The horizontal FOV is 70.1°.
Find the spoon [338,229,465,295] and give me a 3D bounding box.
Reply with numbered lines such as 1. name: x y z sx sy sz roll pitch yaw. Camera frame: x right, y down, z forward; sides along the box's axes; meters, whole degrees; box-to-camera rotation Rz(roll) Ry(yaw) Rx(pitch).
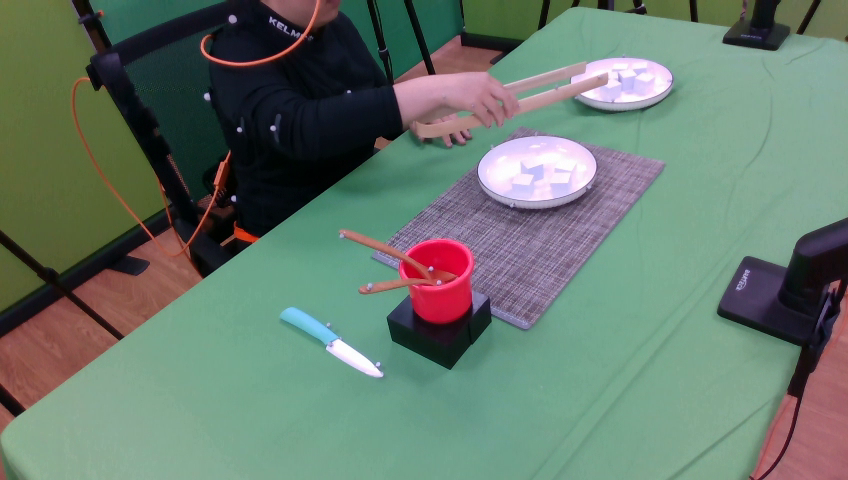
1. spoon: -0.025 0.026 0.776 0.021 0.195 0.041 -41 34 32

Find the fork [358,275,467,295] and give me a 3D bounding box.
1. fork: -0.009 0.056 0.739 0.028 0.018 0.209 49 23 26

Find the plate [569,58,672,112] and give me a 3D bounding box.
1. plate: 0.411 -0.323 1.274 0.209 0.038 0.208 -5 41 5

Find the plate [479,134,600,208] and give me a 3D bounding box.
1. plate: 0.202 -0.117 1.065 0.207 0.039 0.206 -5 40 5

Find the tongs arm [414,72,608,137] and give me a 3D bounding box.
1. tongs arm: 0.165 -0.251 1.096 0.386 0.026 0.050 -21 43 -18

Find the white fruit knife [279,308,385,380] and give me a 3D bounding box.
1. white fruit knife: -0.130 0.143 0.845 0.205 0.016 0.027 25 79 32

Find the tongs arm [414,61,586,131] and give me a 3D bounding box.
1. tongs arm: 0.148 -0.273 1.125 0.389 0.028 0.028 -22 47 -19
